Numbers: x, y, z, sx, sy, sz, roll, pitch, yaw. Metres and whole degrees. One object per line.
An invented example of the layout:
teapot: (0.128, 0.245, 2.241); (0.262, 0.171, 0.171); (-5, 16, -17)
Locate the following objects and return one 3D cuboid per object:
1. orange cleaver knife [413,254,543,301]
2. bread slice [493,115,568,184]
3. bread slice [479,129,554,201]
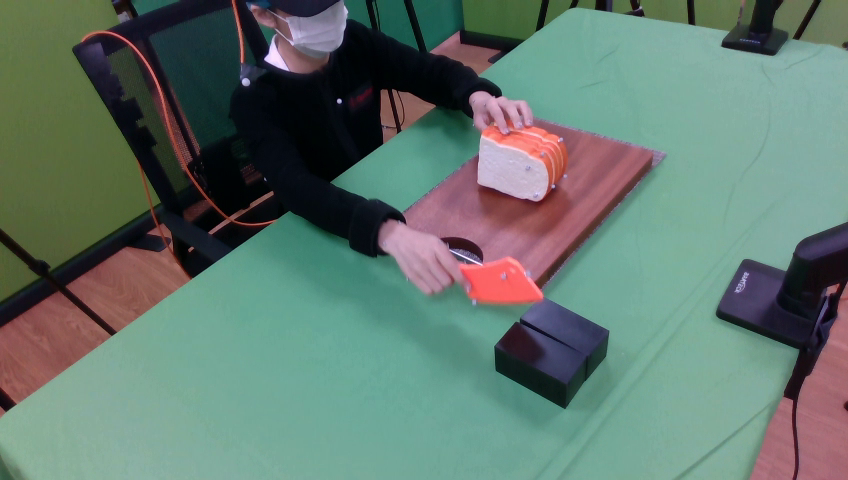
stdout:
orange cleaver knife: (0.066, 0.051, 0.802); (0.209, 0.077, 0.012); (-1, 36, 49)
bread slice: (0.174, -0.143, 1.011); (0.133, 0.107, 0.018); (22, 52, 20)
bread slice: (0.147, -0.115, 0.979); (0.131, 0.105, 0.019); (24, 50, 23)
